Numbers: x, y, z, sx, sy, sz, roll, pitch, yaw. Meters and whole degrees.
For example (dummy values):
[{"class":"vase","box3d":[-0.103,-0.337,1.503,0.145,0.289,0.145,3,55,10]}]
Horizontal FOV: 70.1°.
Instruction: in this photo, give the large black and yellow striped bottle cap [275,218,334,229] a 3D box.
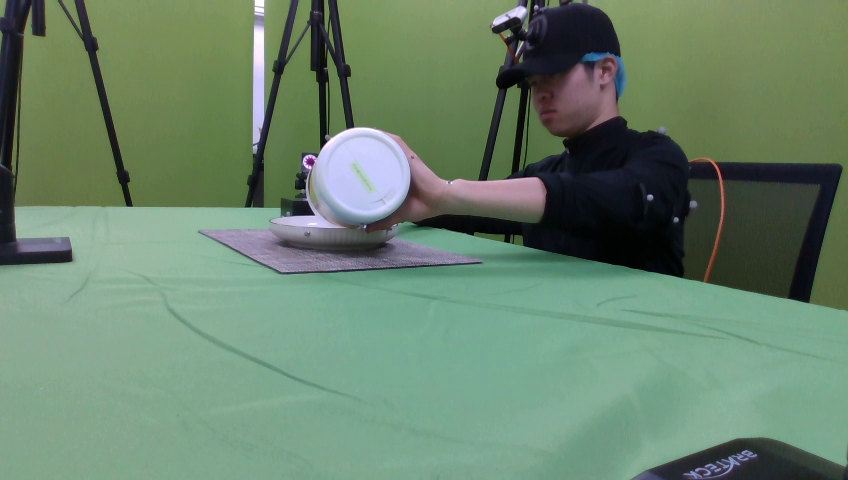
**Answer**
[{"class":"large black and yellow striped bottle cap","box3d":[-0.236,-0.033,1.197,0.115,0.019,0.115,2,3,0]}]

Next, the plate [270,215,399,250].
[{"class":"plate","box3d":[-0.145,-0.013,0.992,0.208,0.039,0.207,2,7,0]}]

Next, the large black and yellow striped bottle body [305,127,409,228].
[{"class":"large black and yellow striped bottle body","box3d":[-0.106,-0.082,0.894,0.131,0.130,0.183,0,-4,-17]}]
